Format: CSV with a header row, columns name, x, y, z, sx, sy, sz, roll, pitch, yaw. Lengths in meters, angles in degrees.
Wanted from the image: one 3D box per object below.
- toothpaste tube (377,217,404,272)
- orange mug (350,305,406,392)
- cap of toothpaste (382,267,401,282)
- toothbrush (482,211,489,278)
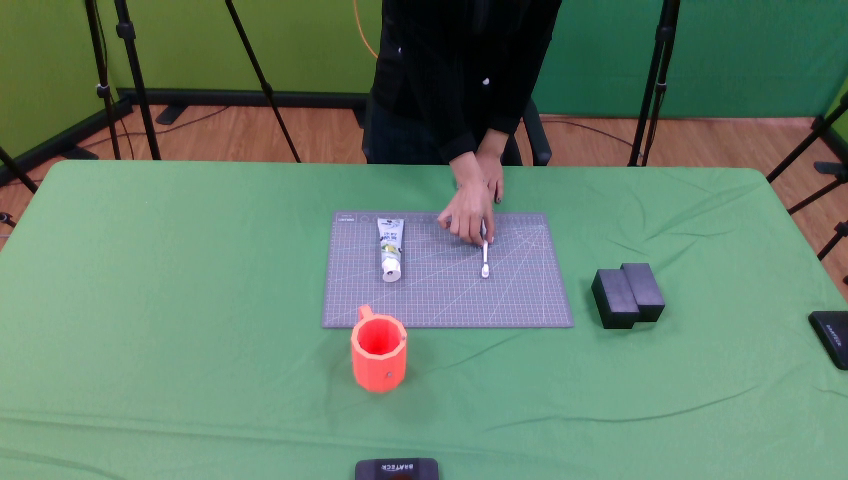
name,x,y,z,sx,sy,sz,roll,pitch,yaw
toothpaste tube,-0.063,0.008,1.179,0.055,0.034,0.164,5,42,-9
orange mug,-0.080,0.168,0.978,0.083,0.101,0.125,-16,54,-18
cap of toothpaste,-0.060,0.063,1.118,0.037,0.037,0.011,-9,50,-12
toothbrush,0.123,0.004,1.203,0.014,0.017,0.181,4,45,2
